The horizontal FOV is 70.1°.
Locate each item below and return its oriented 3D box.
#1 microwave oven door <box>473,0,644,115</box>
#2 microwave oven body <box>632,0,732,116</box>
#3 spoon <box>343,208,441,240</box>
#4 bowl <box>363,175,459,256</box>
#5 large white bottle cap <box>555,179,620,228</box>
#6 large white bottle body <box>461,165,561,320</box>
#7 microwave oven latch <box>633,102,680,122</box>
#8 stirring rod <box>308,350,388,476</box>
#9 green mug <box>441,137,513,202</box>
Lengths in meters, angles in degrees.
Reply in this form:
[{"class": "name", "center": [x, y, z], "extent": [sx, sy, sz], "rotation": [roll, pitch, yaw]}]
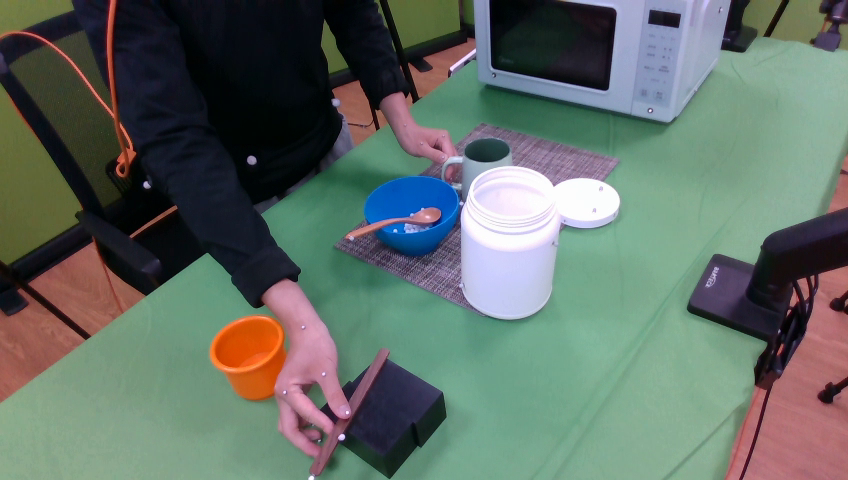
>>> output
[{"class": "microwave oven door", "center": [0.257, -0.396, 1.199], "extent": [0.353, 0.245, 0.039], "rotation": [21, 48, 29]}, {"class": "microwave oven body", "center": [0.377, -0.462, 1.267], "extent": [0.438, 0.261, 0.327], "rotation": [21, 48, 30]}, {"class": "spoon", "center": [-0.046, -0.025, 0.912], "extent": [0.041, 0.021, 0.195], "rotation": [27, 27, 37]}, {"class": "bowl", "center": [-0.016, -0.028, 0.955], "extent": [0.151, 0.077, 0.150], "rotation": [-4, 40, 3]}, {"class": "large white bottle cap", "center": [0.265, -0.062, 1.001], "extent": [0.115, 0.018, 0.114], "rotation": [-3, 41, 3]}, {"class": "large white bottle body", "center": [0.115, 0.004, 0.815], "extent": [0.130, 0.185, 0.130], "rotation": [-2, 43, 2]}, {"class": "microwave oven latch", "center": [0.444, -0.249, 1.157], "extent": [0.078, 0.029, 0.030], "rotation": [21, 49, 30]}, {"class": "stirring rod", "center": [-0.084, 0.192, 0.694], "extent": [0.014, 0.006, 0.176], "rotation": [9, 41, 22]}, {"class": "green mug", "center": [0.091, -0.108, 1.012], "extent": [0.125, 0.105, 0.092], "rotation": [2, 42, 11]}]
